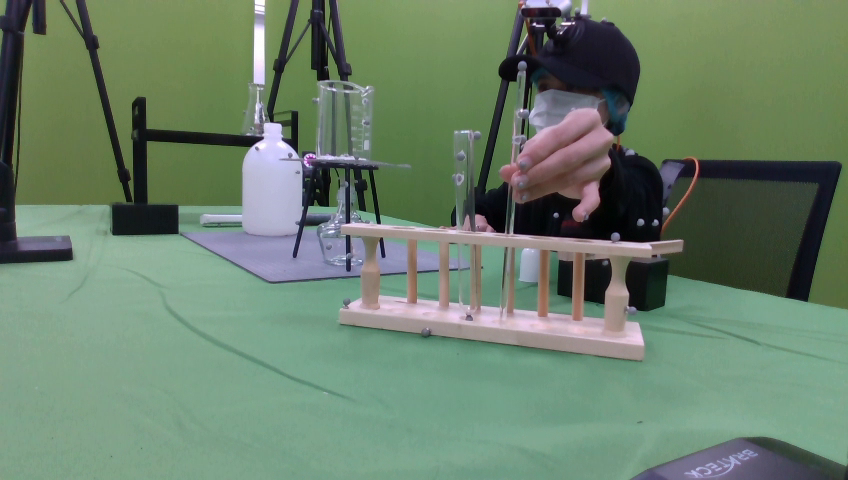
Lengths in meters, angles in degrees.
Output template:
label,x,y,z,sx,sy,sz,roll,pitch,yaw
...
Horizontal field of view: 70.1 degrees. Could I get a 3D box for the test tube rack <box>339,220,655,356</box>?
label,x,y,z,sx,sy,sz,roll,pitch,yaw
test tube rack,0.056,0.032,0.495,0.242,0.085,0.067,4,8,15

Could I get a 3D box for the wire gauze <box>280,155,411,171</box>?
label,x,y,z,sx,sy,sz,roll,pitch,yaw
wire gauze,-0.103,-0.103,0.785,0.121,0.011,0.126,11,8,42

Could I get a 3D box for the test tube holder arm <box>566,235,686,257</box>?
label,x,y,z,sx,sy,sz,roll,pitch,yaw
test tube holder arm,0.215,0.006,0.630,0.179,0.015,0.013,-3,10,-31

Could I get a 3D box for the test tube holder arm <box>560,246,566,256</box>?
label,x,y,z,sx,sy,sz,roll,pitch,yaw
test tube holder arm,0.173,0.007,0.612,0.088,0.015,0.010,-3,10,-30

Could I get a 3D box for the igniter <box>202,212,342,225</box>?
label,x,y,z,sx,sy,sz,roll,pitch,yaw
igniter,-0.298,-0.043,1.216,0.278,0.025,0.057,-3,-2,-32

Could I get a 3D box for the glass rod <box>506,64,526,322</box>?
label,x,y,z,sx,sy,sz,roll,pitch,yaw
glass rod,0.070,-0.029,0.457,0.008,0.199,0.008,0,14,0

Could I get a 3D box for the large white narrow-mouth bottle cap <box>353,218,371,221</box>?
label,x,y,z,sx,sy,sz,roll,pitch,yaw
large white narrow-mouth bottle cap,-0.121,-0.029,1.184,0.038,0.024,0.037,2,8,0

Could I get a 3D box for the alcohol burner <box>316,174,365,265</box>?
label,x,y,z,sx,sy,sz,roll,pitch,yaw
alcohol burner,-0.102,-0.028,0.790,0.078,0.119,0.078,0,6,0

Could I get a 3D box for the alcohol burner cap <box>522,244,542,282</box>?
label,x,y,z,sx,sy,sz,roll,pitch,yaw
alcohol burner cap,0.137,0.026,0.741,0.034,0.048,0.034,1,7,0

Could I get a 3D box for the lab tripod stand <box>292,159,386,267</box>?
label,x,y,z,sx,sy,sz,roll,pitch,yaw
lab tripod stand,-0.105,-0.039,0.797,0.148,0.131,0.148,2,5,0

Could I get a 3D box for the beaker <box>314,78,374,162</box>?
label,x,y,z,sx,sy,sz,roll,pitch,yaw
beaker,-0.101,-0.150,0.773,0.074,0.100,0.083,-2,8,-40

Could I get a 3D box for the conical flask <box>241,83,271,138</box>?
label,x,y,z,sx,sy,sz,roll,pitch,yaw
conical flask,-0.384,-0.297,1.393,0.075,0.122,0.075,2,7,0

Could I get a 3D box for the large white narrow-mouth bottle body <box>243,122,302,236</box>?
label,x,y,z,sx,sy,sz,roll,pitch,yaw
large white narrow-mouth bottle body,-0.265,-0.109,1.061,0.102,0.194,0.102,2,8,0

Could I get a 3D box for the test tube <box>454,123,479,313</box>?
label,x,y,z,sx,sy,sz,roll,pitch,yaw
test tube,0.034,-0.016,0.477,0.017,0.150,0.017,-2,9,1
